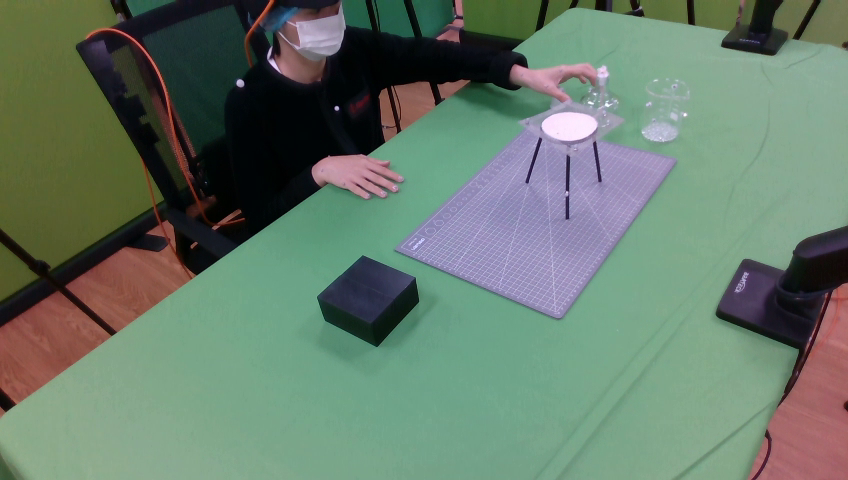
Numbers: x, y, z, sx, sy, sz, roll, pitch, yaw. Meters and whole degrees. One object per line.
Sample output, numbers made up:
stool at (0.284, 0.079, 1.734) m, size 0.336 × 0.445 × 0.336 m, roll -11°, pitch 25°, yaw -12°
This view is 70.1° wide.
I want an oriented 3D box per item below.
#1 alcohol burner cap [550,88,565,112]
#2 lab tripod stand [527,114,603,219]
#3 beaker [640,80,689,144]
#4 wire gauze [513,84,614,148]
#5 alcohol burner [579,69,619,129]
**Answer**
alcohol burner cap at (0.282, -0.297, 1.271) m, size 0.034 × 0.048 × 0.033 m, roll -3°, pitch 42°, yaw 3°
lab tripod stand at (0.234, -0.129, 1.002) m, size 0.148 × 0.132 × 0.147 m, roll -6°, pitch 40°, yaw 6°
beaker at (0.446, -0.235, 1.126) m, size 0.074 × 0.101 × 0.083 m, roll -34°, pitch 47°, yaw -27°
wire gauze at (0.220, -0.194, 0.951) m, size 0.120 × 0.011 × 0.125 m, roll 23°, pitch 56°, yaw 25°
alcohol burner at (0.345, -0.280, 1.184) m, size 0.078 × 0.119 × 0.077 m, roll -4°, pitch 42°, yaw 4°
